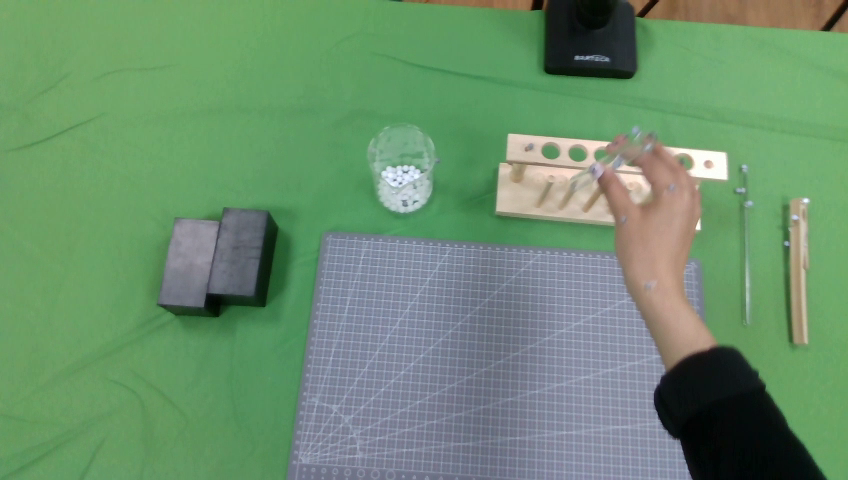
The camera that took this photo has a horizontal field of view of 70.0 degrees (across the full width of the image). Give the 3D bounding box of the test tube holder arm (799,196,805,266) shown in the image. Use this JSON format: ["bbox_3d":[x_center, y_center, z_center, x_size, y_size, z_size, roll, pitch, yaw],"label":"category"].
[{"bbox_3d":[0.448,-0.010,0.727,0.010,0.015,0.087,20,70,-26],"label":"test tube holder arm"}]

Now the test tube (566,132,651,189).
[{"bbox_3d":[0.162,-0.068,0.550,0.017,0.150,0.017,1,82,-8],"label":"test tube"}]

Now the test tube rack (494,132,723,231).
[{"bbox_3d":[0.208,-0.066,0.706,0.242,0.085,0.066,5,71,1],"label":"test tube rack"}]

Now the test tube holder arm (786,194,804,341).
[{"bbox_3d":[0.435,0.030,0.711,0.013,0.015,0.177,20,70,-26],"label":"test tube holder arm"}]

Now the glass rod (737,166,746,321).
[{"bbox_3d":[0.381,0.000,0.727,0.008,0.008,0.198,9,71,2],"label":"glass rod"}]

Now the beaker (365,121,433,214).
[{"bbox_3d":[-0.028,-0.077,0.698,0.074,0.101,0.083,7,72,2],"label":"beaker"}]
